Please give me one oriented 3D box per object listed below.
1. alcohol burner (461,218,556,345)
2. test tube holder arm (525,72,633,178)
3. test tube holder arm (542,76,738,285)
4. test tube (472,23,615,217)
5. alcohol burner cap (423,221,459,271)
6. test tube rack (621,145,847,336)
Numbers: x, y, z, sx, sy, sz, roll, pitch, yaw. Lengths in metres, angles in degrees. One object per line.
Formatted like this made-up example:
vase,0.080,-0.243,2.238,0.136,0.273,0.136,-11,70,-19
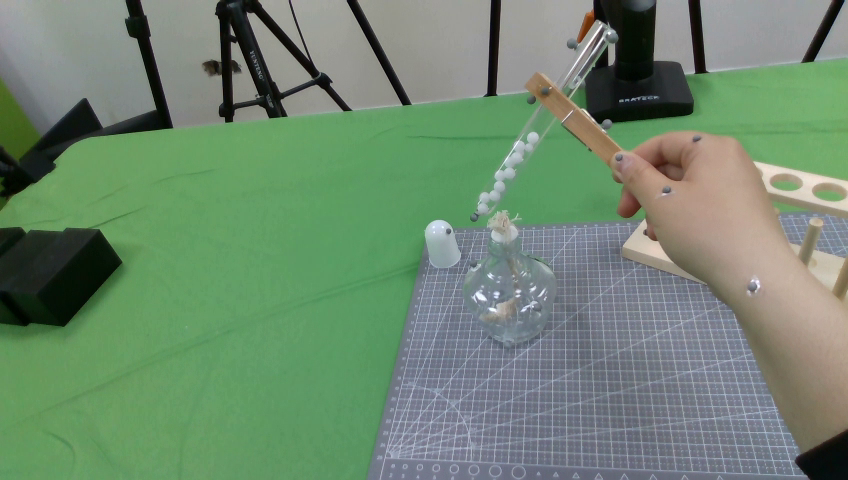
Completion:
alcohol burner,0.066,0.028,0.483,0.078,0.120,0.077,-7,42,7
test tube holder arm,0.100,-0.075,0.395,0.087,0.015,0.010,47,21,8
test tube holder arm,0.131,-0.042,0.390,0.015,0.013,0.177,-46,73,21
test tube,0.077,-0.076,0.412,0.017,0.150,0.017,28,23,-13
alcohol burner cap,0.015,0.003,0.584,0.034,0.048,0.033,-7,41,7
test tube rack,0.282,0.003,0.471,0.240,0.086,0.066,22,52,36
